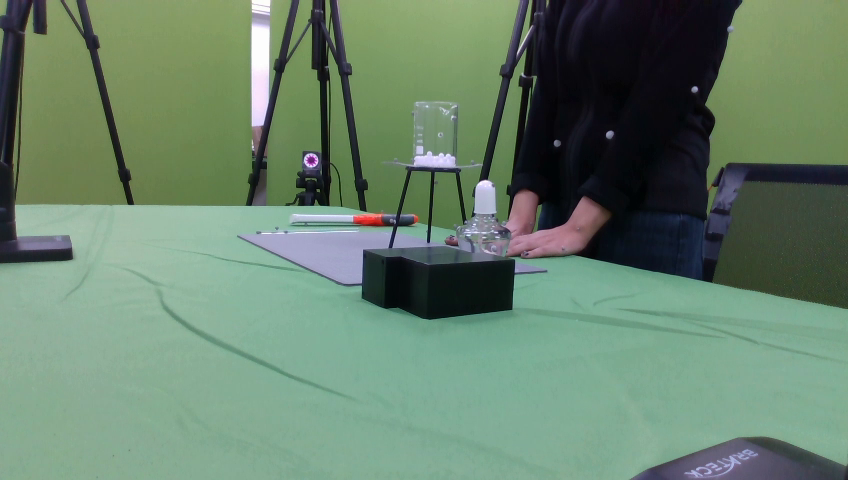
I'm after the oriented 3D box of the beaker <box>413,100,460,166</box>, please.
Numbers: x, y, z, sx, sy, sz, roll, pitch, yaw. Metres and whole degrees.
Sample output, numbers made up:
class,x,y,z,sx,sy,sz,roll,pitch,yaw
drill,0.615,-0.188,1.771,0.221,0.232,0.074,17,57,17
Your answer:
class,x,y,z,sx,sy,sz,roll,pitch,yaw
beaker,0.020,-0.167,0.953,0.073,0.100,0.084,6,9,26

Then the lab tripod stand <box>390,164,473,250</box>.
class,x,y,z,sx,sy,sz,roll,pitch,yaw
lab tripod stand,0.011,-0.053,0.960,0.148,0.131,0.148,2,9,0

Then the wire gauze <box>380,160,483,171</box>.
class,x,y,z,sx,sy,sz,roll,pitch,yaw
wire gauze,0.011,-0.119,0.951,0.122,0.011,0.124,-5,12,-32

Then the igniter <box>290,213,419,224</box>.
class,x,y,z,sx,sy,sz,roll,pitch,yaw
igniter,-0.143,-0.046,1.288,0.278,0.025,0.057,-1,-3,-24

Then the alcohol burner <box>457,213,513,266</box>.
class,x,y,z,sx,sy,sz,roll,pitch,yaw
alcohol burner,0.084,-0.025,0.837,0.078,0.119,0.078,0,8,0

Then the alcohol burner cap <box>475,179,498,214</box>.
class,x,y,z,sx,sy,sz,roll,pitch,yaw
alcohol burner cap,0.086,-0.061,0.833,0.034,0.048,0.034,-1,11,0

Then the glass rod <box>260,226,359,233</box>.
class,x,y,z,sx,sy,sz,roll,pitch,yaw
glass rod,-0.211,-0.020,1.137,0.201,0.008,0.008,-3,9,-35
